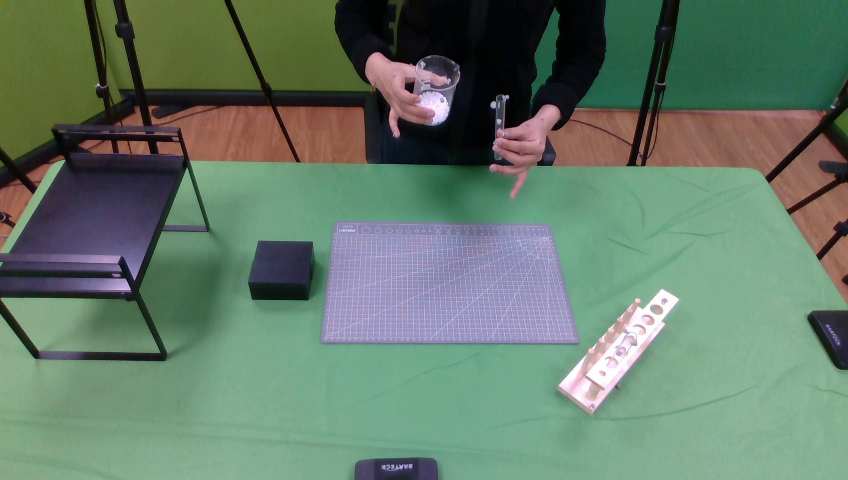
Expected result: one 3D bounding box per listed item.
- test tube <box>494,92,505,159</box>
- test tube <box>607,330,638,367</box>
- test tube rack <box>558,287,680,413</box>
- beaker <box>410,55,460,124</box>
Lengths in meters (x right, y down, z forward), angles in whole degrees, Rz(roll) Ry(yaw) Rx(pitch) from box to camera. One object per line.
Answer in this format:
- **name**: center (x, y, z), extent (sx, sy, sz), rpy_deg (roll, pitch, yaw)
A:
- **test tube**: center (0.127, -0.188, 1.015), extent (0.017, 0.151, 0.017), rpy_deg (-3, 57, 4)
- **test tube**: center (0.293, 0.184, 0.925), extent (0.017, 0.151, 0.017), rpy_deg (4, 49, -4)
- **test tube rack**: center (0.326, 0.170, 1.009), extent (0.066, 0.085, 0.242), rpy_deg (36, 54, 26)
- **beaker**: center (0.017, -0.253, 1.031), extent (0.084, 0.100, 0.073), rpy_deg (-27, 70, -20)
